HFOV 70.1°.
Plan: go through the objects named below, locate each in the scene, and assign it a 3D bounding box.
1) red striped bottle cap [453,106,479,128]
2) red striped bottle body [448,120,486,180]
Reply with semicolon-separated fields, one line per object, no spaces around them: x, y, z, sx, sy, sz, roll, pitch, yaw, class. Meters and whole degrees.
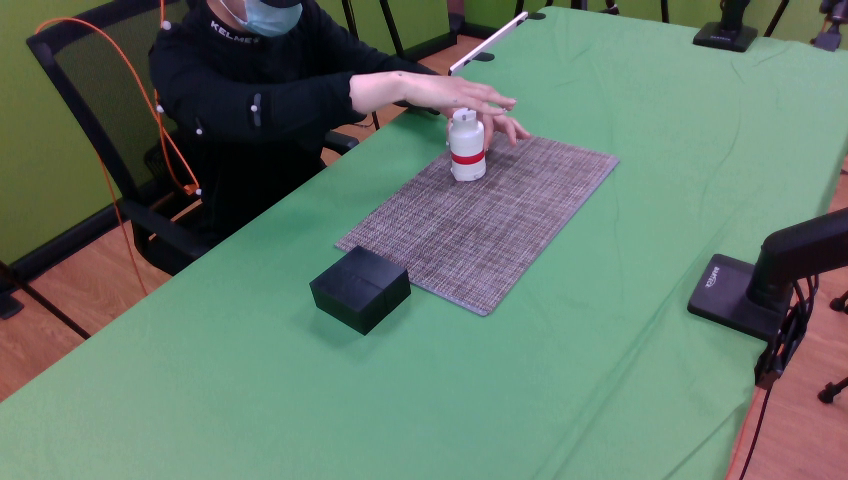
0.071;-0.211;1.038;0.044;0.018;0.044;-5;45;5;red striped bottle cap
0.076;-0.170;1.073;0.063;0.120;0.062;-5;43;5;red striped bottle body
